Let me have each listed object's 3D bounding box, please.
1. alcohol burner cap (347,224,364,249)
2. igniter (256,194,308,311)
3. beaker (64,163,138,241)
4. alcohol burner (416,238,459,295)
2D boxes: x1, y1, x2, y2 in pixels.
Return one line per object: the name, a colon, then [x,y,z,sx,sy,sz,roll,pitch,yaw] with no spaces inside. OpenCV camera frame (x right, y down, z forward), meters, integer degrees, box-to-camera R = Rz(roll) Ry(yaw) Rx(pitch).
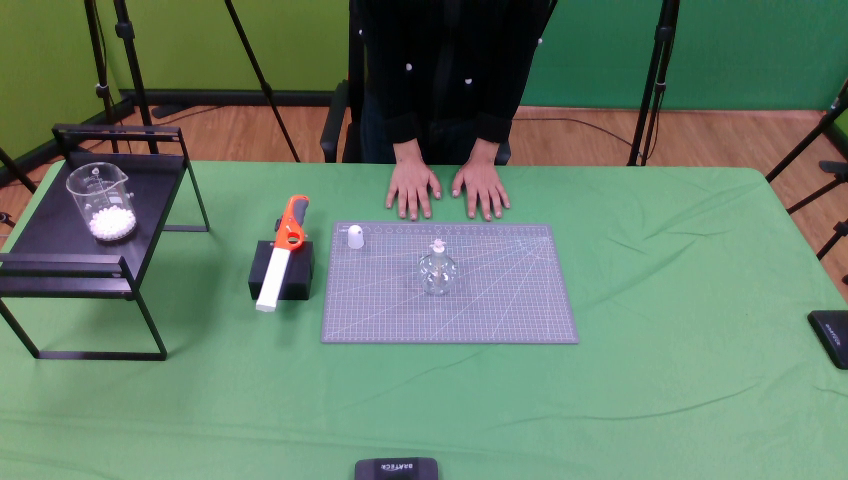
alcohol burner cap: [-0.134,-0.010,1.177,0.034,0.048,0.033,2,47,-2]
igniter: [-0.254,0.012,1.096,0.057,0.025,0.275,13,46,-8]
beaker: [-0.478,-0.055,0.910,0.084,0.101,0.073,-9,48,-13]
alcohol burner: [0.024,0.042,1.088,0.078,0.120,0.077,1,46,0]
